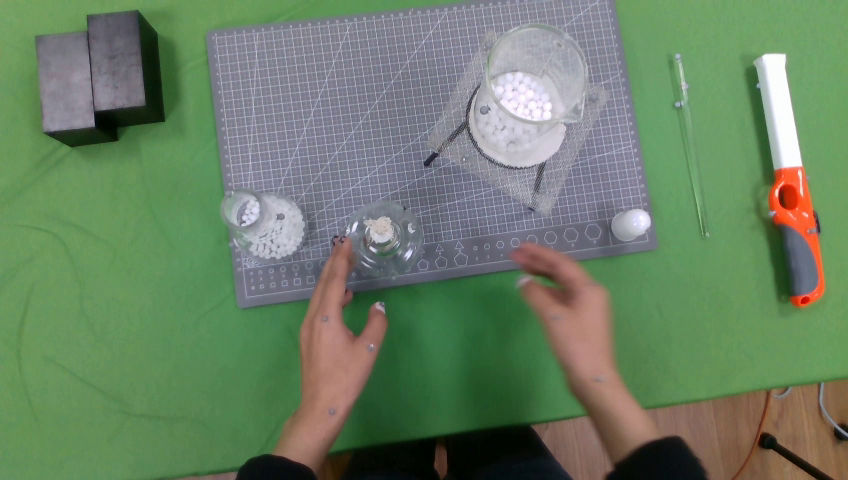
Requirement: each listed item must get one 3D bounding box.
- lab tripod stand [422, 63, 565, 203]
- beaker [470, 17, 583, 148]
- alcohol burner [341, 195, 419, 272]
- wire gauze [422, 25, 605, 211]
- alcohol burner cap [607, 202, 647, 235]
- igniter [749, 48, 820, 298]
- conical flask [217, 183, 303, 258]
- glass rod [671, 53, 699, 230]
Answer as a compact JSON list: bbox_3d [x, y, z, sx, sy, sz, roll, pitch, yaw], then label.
[{"bbox_3d":[0.072,-0.103,0.591,0.148,0.131,0.148,0,86,-2],"label":"lab tripod stand"},{"bbox_3d":[0.077,-0.115,0.478,0.084,0.100,0.074,43,85,2],"label":"beaker"},{"bbox_3d":[-0.043,-0.009,0.585,0.078,0.119,0.077,0,84,-1],"label":"alcohol burner"},{"bbox_3d":[0.078,-0.108,0.526,0.125,0.011,0.121,29,87,-2],"label":"wire gauze"},{"bbox_3d":[0.216,-0.025,0.637,0.034,0.048,0.034,0,83,-3],"label":"alcohol burner cap"},{"bbox_3d":[0.394,-0.075,0.662,0.057,0.025,0.276,-5,85,-14],"label":"igniter"},{"bbox_3d":[-0.160,-0.024,0.575,0.075,0.122,0.075,0,84,-3],"label":"conical flask"},{"bbox_3d":[0.289,-0.109,0.669,0.008,0.008,0.199,-6,88,-4],"label":"glass rod"}]
